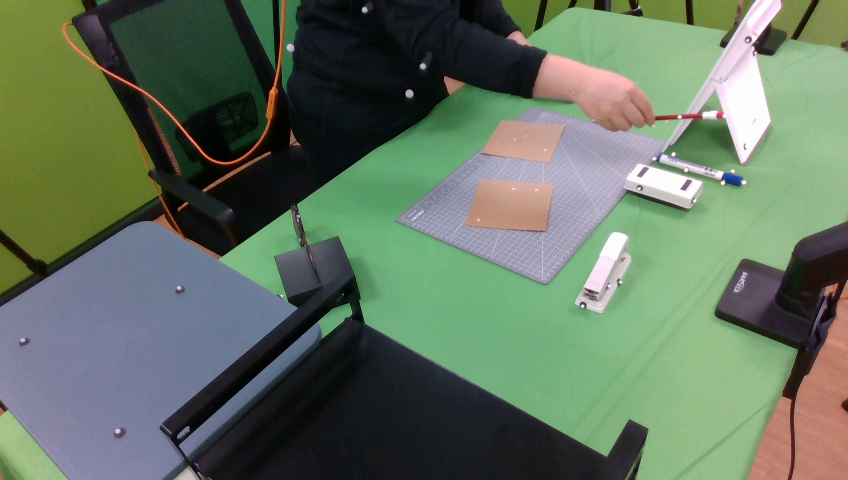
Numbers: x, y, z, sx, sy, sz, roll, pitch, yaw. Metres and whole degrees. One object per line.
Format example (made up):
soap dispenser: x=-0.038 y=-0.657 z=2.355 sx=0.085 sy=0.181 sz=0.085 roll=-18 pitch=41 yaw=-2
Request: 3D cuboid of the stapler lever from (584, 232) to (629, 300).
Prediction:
stapler lever: x=0.261 y=0.034 z=0.858 sx=0.026 sy=0.040 sz=0.118 roll=16 pitch=46 yaw=30

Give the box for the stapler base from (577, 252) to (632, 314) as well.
stapler base: x=0.264 y=0.051 z=0.875 sx=0.041 sy=0.024 sz=0.131 roll=16 pitch=47 yaw=29

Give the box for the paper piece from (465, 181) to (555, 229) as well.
paper piece: x=0.149 y=-0.062 z=1.034 sx=0.137 sy=0.009 sz=0.136 roll=4 pitch=37 yaw=17

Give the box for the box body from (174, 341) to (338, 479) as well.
box body: x=-0.311 y=0.165 z=0.720 sx=0.361 sy=0.161 sz=0.255 roll=23 pitch=48 yaw=32

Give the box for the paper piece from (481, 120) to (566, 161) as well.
paper piece: x=0.197 y=-0.199 z=1.188 sx=0.135 sy=0.004 sz=0.135 roll=10 pitch=44 yaw=21

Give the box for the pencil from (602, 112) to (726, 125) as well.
pencil: x=0.370 y=-0.189 z=0.950 sx=0.192 sy=0.012 sz=0.012 roll=5 pitch=39 yaw=42

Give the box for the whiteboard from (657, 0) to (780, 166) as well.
whiteboard: x=0.571 y=-0.272 z=1.038 sx=0.143 sy=0.306 sz=0.218 roll=36 pitch=54 yaw=17

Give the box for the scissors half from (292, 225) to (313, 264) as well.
scissors half: x=-0.189 y=0.008 z=0.955 sx=0.013 sy=0.040 sz=0.174 roll=-21 pitch=22 yaw=-12

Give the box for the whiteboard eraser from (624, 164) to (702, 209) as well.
whiteboard eraser: x=0.396 y=-0.087 z=1.003 sx=0.112 sy=0.042 sz=0.056 roll=22 pitch=47 yaw=31

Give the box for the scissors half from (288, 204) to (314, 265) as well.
scissors half: x=-0.191 y=-0.009 z=0.945 sx=0.013 sy=0.040 sz=0.173 roll=-16 pitch=39 yaw=-15

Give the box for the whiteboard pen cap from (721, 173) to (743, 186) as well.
whiteboard pen cap: x=0.519 y=-0.103 z=1.020 sx=0.033 sy=0.018 sz=0.018 roll=23 pitch=49 yaw=29

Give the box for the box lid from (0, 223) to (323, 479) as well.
box lid: x=-0.318 y=0.109 z=0.671 sx=0.368 sy=0.015 sz=0.264 roll=24 pitch=49 yaw=31

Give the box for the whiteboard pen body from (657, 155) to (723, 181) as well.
whiteboard pen body: x=0.475 y=-0.123 z=1.052 sx=0.139 sy=0.017 sz=0.017 roll=25 pitch=50 yaw=32
